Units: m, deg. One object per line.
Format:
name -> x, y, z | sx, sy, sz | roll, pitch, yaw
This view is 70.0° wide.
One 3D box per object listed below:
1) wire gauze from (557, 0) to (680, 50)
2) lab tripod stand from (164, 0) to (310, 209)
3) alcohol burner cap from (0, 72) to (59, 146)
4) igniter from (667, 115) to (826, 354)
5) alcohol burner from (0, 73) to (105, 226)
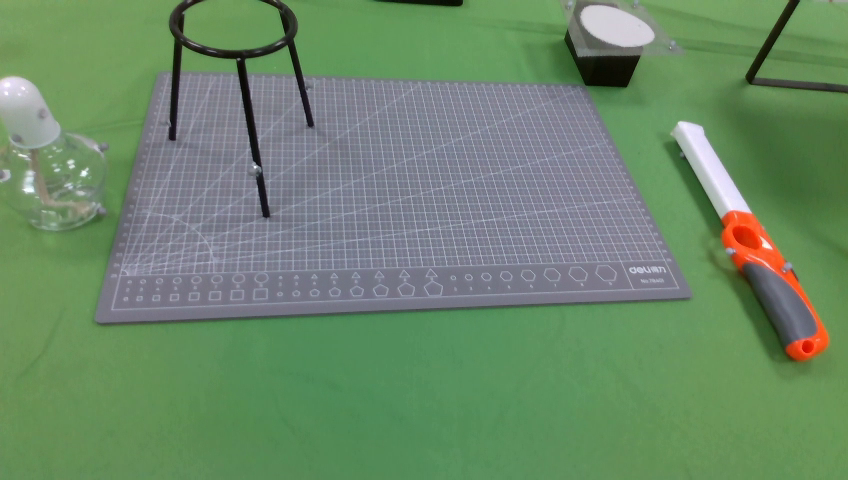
wire gauze -> 0.210, -0.248, 0.680 | 0.122, 0.011, 0.123 | 0, 50, -11
lab tripod stand -> -0.145, -0.119, 0.483 | 0.149, 0.132, 0.147 | 6, 49, -7
alcohol burner cap -> -0.270, -0.090, 0.405 | 0.034, 0.048, 0.033 | 4, 55, -5
igniter -> 0.281, -0.018, 0.545 | 0.057, 0.025, 0.273 | 8, 48, -17
alcohol burner -> -0.275, -0.067, 0.433 | 0.078, 0.120, 0.077 | 6, 47, -6
